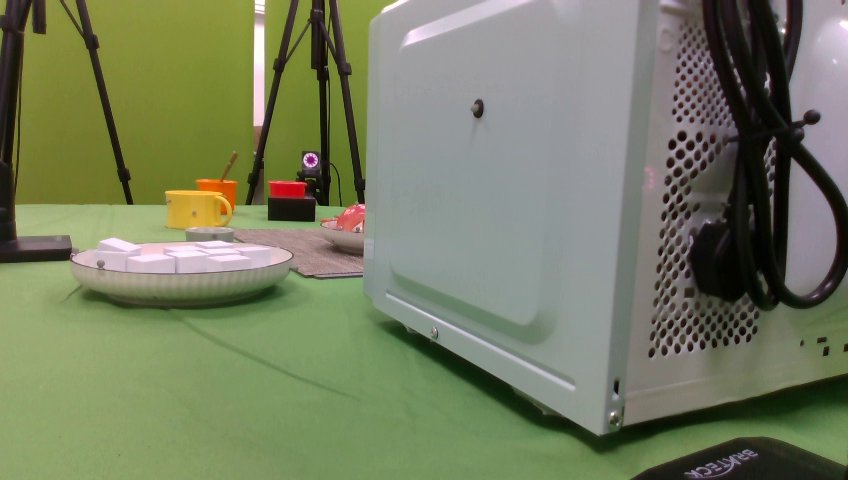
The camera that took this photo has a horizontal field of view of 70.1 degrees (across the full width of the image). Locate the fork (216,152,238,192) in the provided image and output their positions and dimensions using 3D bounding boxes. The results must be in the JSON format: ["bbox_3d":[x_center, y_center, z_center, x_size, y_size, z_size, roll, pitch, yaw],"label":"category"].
[{"bbox_3d":[-0.455,-0.132,1.367,0.028,0.018,0.207,-2,-35,-37],"label":"fork"}]

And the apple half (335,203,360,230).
[{"bbox_3d":[-0.116,-0.038,0.959,0.081,0.033,0.081,-38,8,7],"label":"apple half"}]

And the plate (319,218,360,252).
[{"bbox_3d":[-0.059,-0.007,0.939,0.209,0.038,0.209,3,8,0],"label":"plate"}]

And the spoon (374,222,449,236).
[{"bbox_3d":[-0.029,-0.026,1.178,0.193,0.021,0.042,9,25,42],"label":"spoon"}]

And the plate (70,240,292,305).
[{"bbox_3d":[-0.241,0.031,0.618,0.208,0.039,0.207,2,8,0],"label":"plate"}]

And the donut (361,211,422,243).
[{"bbox_3d":[-0.051,-0.020,0.958,0.099,0.048,0.099,4,7,0],"label":"donut"}]

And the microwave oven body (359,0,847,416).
[{"bbox_3d":[0.211,-0.047,0.474,0.444,0.260,0.324,-1,7,-28],"label":"microwave oven body"}]

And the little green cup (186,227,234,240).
[{"bbox_3d":[-0.285,0.005,0.805,0.061,0.038,0.061,2,8,0],"label":"little green cup"}]

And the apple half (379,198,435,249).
[{"bbox_3d":[-0.020,-0.030,0.891,0.081,0.053,0.074,-2,49,-26],"label":"apple half"}]

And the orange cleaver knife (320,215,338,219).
[{"bbox_3d":[-0.142,-0.057,1.394,0.077,0.012,0.212,3,7,44],"label":"orange cleaver knife"}]

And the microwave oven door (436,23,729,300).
[{"bbox_3d":[0.181,-0.072,0.621,0.358,0.243,0.039,-2,9,-29],"label":"microwave oven door"}]

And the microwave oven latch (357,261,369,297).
[{"bbox_3d":[-0.019,0.033,0.531,0.079,0.029,0.030,-1,7,-27],"label":"microwave oven latch"}]

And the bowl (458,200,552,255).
[{"bbox_3d":[0.128,-0.020,0.977,0.151,0.077,0.151,3,8,0],"label":"bowl"}]

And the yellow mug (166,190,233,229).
[{"bbox_3d":[-0.415,-0.057,1.132,0.130,0.064,0.100,6,8,16],"label":"yellow mug"}]
